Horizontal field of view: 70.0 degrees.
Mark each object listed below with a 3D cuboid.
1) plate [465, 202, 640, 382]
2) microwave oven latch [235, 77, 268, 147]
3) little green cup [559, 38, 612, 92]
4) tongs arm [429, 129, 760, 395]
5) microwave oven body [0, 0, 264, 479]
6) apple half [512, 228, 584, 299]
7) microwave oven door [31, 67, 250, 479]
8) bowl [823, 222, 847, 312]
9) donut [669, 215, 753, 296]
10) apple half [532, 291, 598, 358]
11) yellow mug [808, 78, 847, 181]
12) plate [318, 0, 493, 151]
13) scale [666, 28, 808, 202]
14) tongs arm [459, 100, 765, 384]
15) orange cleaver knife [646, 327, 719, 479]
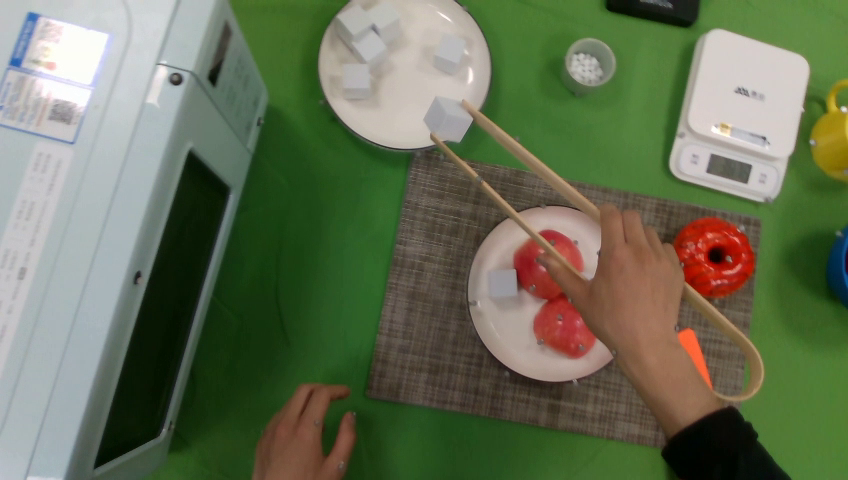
[{"bbox_3d":[0.149,0.061,0.716,0.209,0.038,0.208,1,83,-5],"label":"plate"},{"bbox_3d":[-0.202,-0.149,0.693,0.030,0.029,0.079,16,83,-3],"label":"microwave oven latch"},{"bbox_3d":[0.199,-0.216,0.756,0.061,0.038,0.061,1,83,-5],"label":"little green cup"},{"bbox_3d":[0.151,0.010,0.584,0.051,0.026,0.383,-42,77,-7],"label":"tongs arm"},{"bbox_3d":[-0.379,-0.026,0.565,0.326,0.260,0.440,14,83,-4],"label":"microwave oven body"},{"bbox_3d":[0.146,0.024,0.705,0.081,0.053,0.074,-34,84,-9],"label":"apple half"},{"bbox_3d":[-0.247,0.049,0.563,0.039,0.244,0.354,13,82,-3],"label":"microwave oven door"},{"bbox_3d":[0.550,0.036,0.739,0.151,0.077,0.151,1,84,-5],"label":"bowl"},{"bbox_3d":[0.346,0.019,0.735,0.099,0.048,0.098,0,83,-3],"label":"donut"},{"bbox_3d":[0.169,0.097,0.707,0.081,0.033,0.081,0,84,-1],"label":"apple half"},{"bbox_3d":[0.548,-0.144,0.766,0.100,0.064,0.130,-21,85,-7],"label":"yellow mug"},{"bbox_3d":[-0.022,-0.206,0.735,0.208,0.039,0.207,1,83,-5],"label":"plate"},{"bbox_3d":[0.399,-0.160,0.771,0.149,0.031,0.200,16,83,-3],"label":"scale"},{"bbox_3d":[0.171,-0.010,0.588,0.028,0.028,0.385,-44,77,-11],"label":"tongs arm"},{"bbox_3d":[0.316,0.212,0.723,0.077,0.012,0.210,-6,83,-11],"label":"orange cleaver knife"}]
